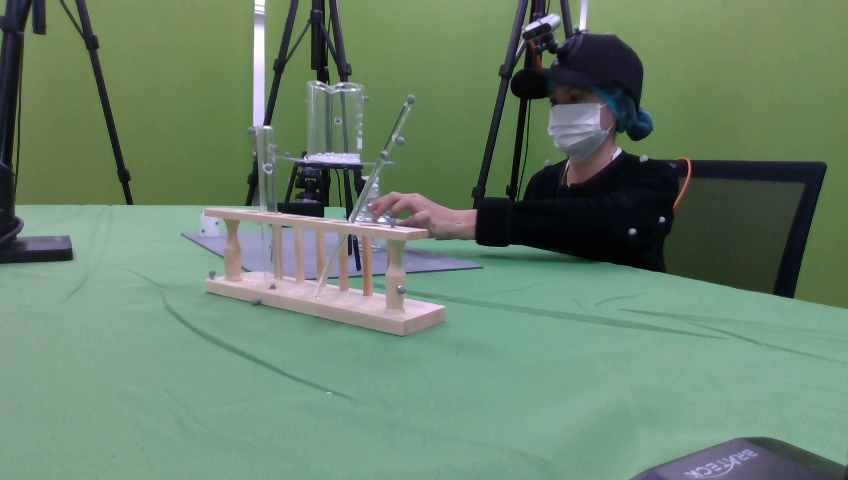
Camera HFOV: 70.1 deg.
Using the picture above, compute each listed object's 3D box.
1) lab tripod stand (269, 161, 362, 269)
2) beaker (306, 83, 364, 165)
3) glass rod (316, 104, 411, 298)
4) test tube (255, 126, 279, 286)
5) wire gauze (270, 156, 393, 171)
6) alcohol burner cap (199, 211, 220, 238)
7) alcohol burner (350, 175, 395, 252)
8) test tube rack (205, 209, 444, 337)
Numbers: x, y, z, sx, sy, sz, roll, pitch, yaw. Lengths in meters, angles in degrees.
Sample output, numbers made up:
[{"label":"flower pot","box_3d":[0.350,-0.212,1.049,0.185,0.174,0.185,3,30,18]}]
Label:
[{"label":"lab tripod stand","box_3d":[-0.125,-0.036,0.794,0.148,0.131,0.148,5,7,0]},{"label":"beaker","box_3d":[-0.116,-0.147,0.775,0.074,0.100,0.084,2,8,-2]},{"label":"glass rod","box_3d":[-0.055,-0.026,0.517,0.008,0.199,0.008,23,25,-11]},{"label":"test tube","box_3d":[-0.147,-0.031,0.566,0.017,0.150,0.017,-1,8,0]},{"label":"wire gauze","box_3d":[-0.122,-0.100,0.786,0.122,0.011,0.124,-5,14,-38]},{"label":"alcohol burner cap","box_3d":[-0.356,-0.027,1.002,0.034,0.048,0.034,2,7,0]},{"label":"alcohol burner","box_3d":[-0.083,-0.041,0.931,0.078,0.119,0.078,1,8,0]},{"label":"test tube rack","box_3d":[-0.100,0.021,0.565,0.241,0.085,0.067,7,9,32]}]
